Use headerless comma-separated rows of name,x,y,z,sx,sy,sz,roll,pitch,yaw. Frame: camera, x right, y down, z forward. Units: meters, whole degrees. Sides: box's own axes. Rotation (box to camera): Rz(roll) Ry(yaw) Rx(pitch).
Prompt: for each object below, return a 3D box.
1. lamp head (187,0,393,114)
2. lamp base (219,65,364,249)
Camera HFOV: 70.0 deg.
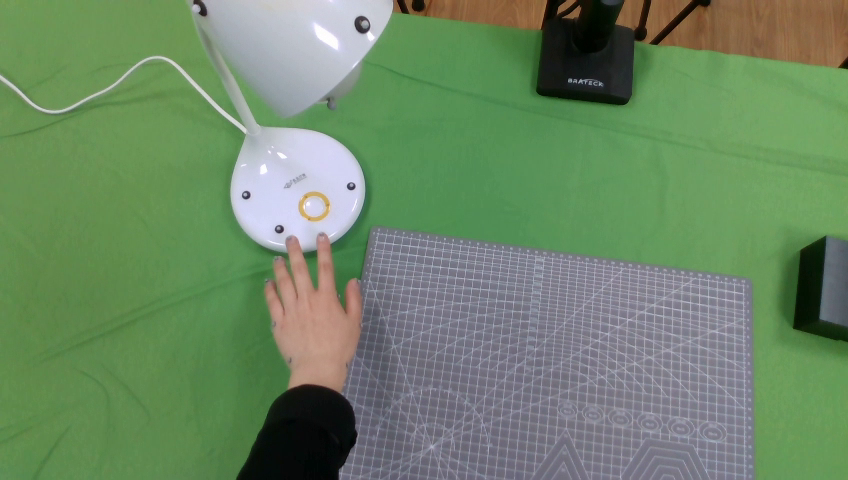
lamp head,-0.100,-0.160,0.386,0.124,0.111,0.112,41,72,-28
lamp base,-0.163,-0.098,0.662,0.178,0.181,0.160,41,76,16
